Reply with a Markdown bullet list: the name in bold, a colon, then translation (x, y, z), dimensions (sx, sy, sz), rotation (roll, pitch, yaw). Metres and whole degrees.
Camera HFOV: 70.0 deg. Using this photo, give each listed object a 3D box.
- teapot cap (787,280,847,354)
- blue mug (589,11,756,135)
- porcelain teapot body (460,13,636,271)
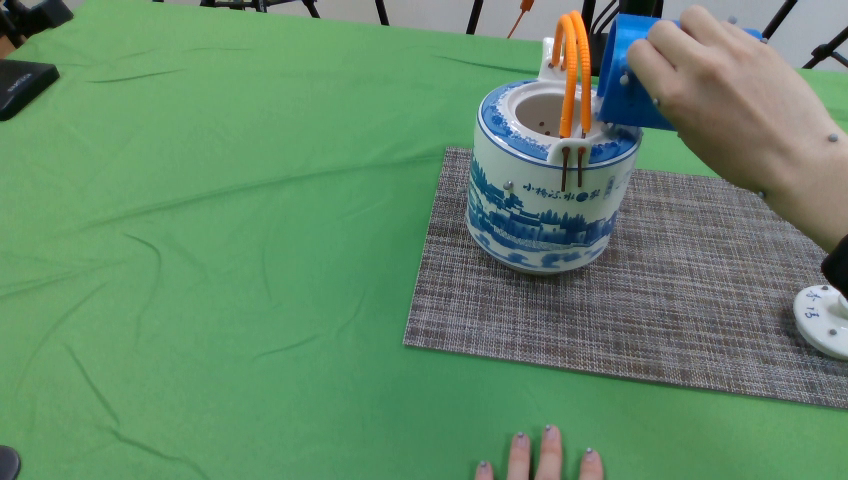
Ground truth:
- **teapot cap**: translation (0.369, 0.063, 0.537), dimensions (0.085, 0.044, 0.084), rotation (4, 43, -3)
- **blue mug**: translation (0.186, -0.127, 0.458), dimensions (0.106, 0.082, 0.116), rotation (10, 13, 8)
- **porcelain teapot body**: translation (0.112, -0.108, 0.567), dimensions (0.145, 0.227, 0.203), rotation (2, 44, -1)
